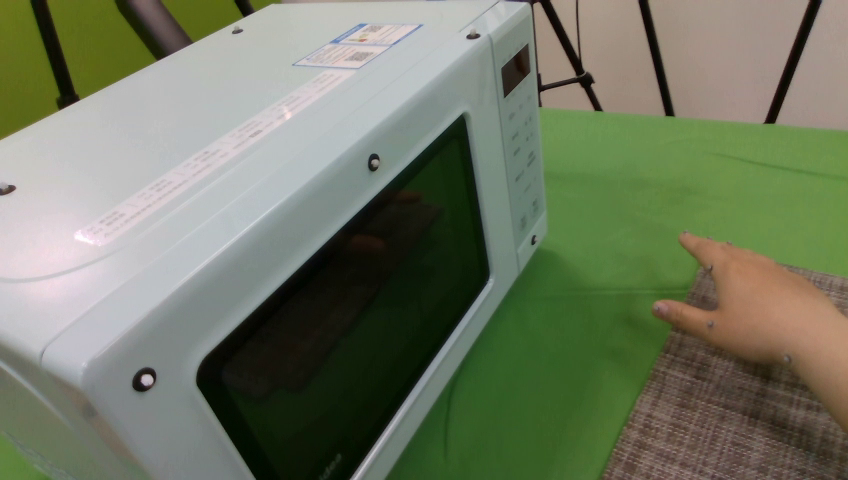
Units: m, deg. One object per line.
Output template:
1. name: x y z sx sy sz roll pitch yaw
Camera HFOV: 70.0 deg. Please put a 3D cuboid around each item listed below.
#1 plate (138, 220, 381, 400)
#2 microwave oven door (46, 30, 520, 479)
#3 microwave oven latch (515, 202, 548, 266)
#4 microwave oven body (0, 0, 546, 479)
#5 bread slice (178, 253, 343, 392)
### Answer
1. plate: -0.135 0.057 0.522 0.209 0.038 0.207 -9 36 7
2. microwave oven door: -0.032 0.039 0.415 0.039 0.246 0.354 12 43 30
3. microwave oven latch: 0.100 -0.008 0.613 0.030 0.030 0.079 13 44 31
4. microwave oven body: -0.133 -0.007 0.518 0.324 0.263 0.440 13 44 30
5. bread slice: -0.138 0.060 0.527 0.104 0.019 0.131 22 52 36
